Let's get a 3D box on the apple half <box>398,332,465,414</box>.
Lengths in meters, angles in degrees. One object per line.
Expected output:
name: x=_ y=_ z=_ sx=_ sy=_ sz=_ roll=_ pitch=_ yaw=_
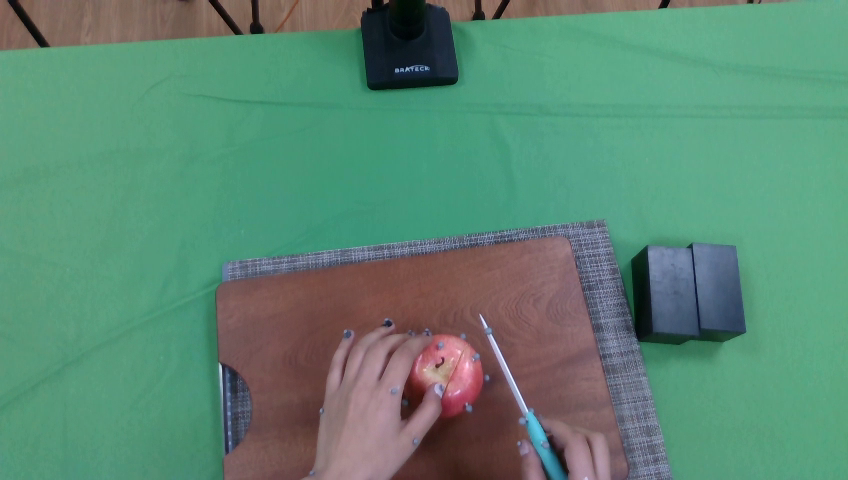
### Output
apple half: x=0.002 y=0.128 z=0.605 sx=0.053 sy=0.075 sz=0.080 roll=23 pitch=73 yaw=10

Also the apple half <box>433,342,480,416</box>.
apple half: x=0.037 y=0.144 z=0.599 sx=0.032 sy=0.082 sz=0.081 roll=23 pitch=70 yaw=10

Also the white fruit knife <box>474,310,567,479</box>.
white fruit knife: x=0.088 y=0.154 z=0.528 sx=0.016 sy=0.027 sz=0.207 roll=-26 pitch=92 yaw=-11
